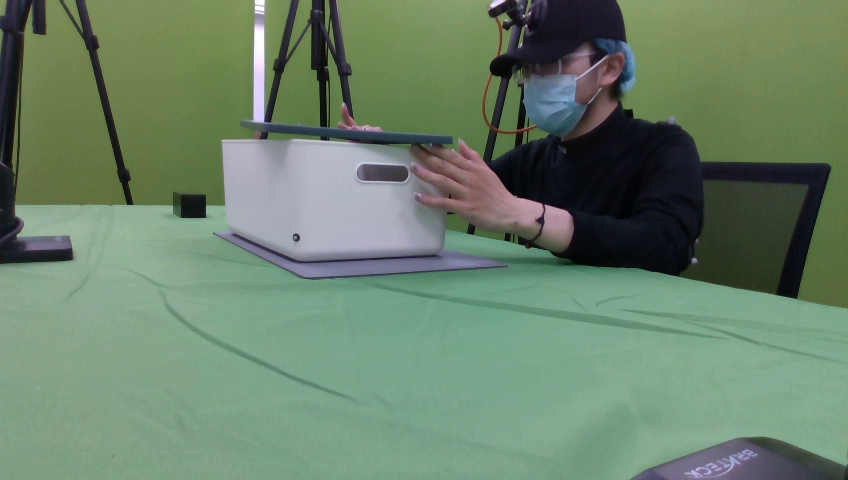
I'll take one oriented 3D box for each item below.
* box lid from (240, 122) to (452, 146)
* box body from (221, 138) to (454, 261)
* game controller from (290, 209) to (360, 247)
[{"bbox_3d":[-0.138,-0.166,0.945,0.264,0.015,0.370,0,10,-22],"label":"box lid"},{"bbox_3d":[-0.152,-0.074,0.963,0.255,0.160,0.362,-3,9,-33],"label":"box body"},{"bbox_3d":[-0.161,-0.022,0.968,0.097,0.051,0.154,-3,9,-16],"label":"game controller"}]
